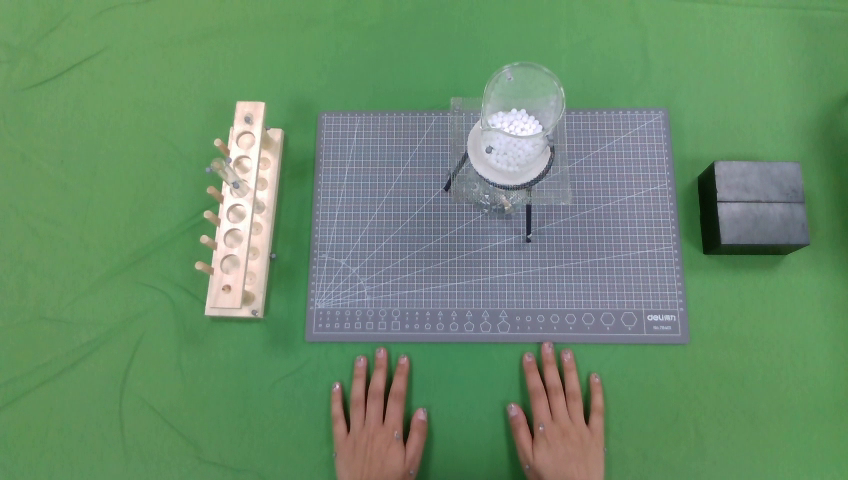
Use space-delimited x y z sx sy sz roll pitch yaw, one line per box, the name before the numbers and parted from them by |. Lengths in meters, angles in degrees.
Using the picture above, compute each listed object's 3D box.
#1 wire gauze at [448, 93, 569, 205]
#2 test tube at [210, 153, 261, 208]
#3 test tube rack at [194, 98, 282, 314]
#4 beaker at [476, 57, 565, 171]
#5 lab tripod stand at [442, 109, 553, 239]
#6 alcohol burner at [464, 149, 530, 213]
wire gauze | 0.087 -0.097 0.628 0.125 0.011 0.121 1 77 0
test tube | -0.206 -0.062 0.672 0.017 0.151 0.017 0 77 0
test tube rack | -0.224 -0.039 0.718 0.067 0.085 0.241 2 76 3
beaker | 0.086 -0.113 0.582 0.084 0.101 0.073 -33 77 -7
lab tripod stand | 0.093 -0.084 0.692 0.148 0.132 0.147 -1 74 2
alcohol burner | 0.086 -0.074 0.700 0.078 0.119 0.077 0 75 0
